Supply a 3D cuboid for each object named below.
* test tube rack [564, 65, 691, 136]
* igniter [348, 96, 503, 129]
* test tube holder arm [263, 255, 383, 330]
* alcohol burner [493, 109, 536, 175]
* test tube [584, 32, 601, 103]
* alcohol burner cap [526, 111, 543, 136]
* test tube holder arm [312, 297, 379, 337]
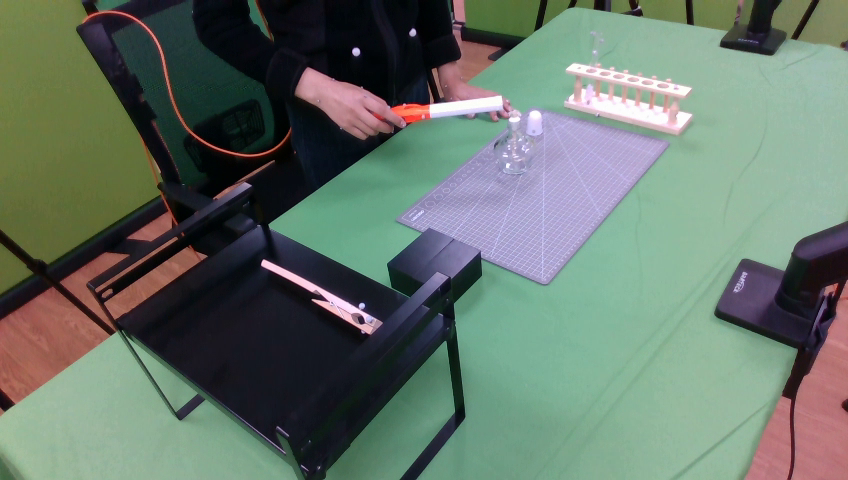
[{"bbox_3d":[0.404,-0.288,1.204,0.240,0.085,0.067,24,49,32],"label":"test tube rack"},{"bbox_3d":[-0.001,-0.225,1.065,0.276,0.025,0.057,-6,38,6],"label":"igniter"},{"bbox_3d":[-0.113,0.054,0.647,0.177,0.015,0.013,26,80,33],"label":"test tube holder arm"},{"bbox_3d":[0.163,-0.179,1.087,0.078,0.119,0.077,-5,39,5],"label":"alcohol burner"},{"bbox_3d":[0.333,-0.338,1.198,0.017,0.151,0.017,-3,45,3],"label":"test tube"},{"bbox_3d":[0.219,-0.232,1.196,0.034,0.048,0.033,-4,41,4],"label":"alcohol burner cap"},{"bbox_3d":[-0.082,0.075,0.622,0.087,0.015,0.010,27,80,33],"label":"test tube holder arm"}]
